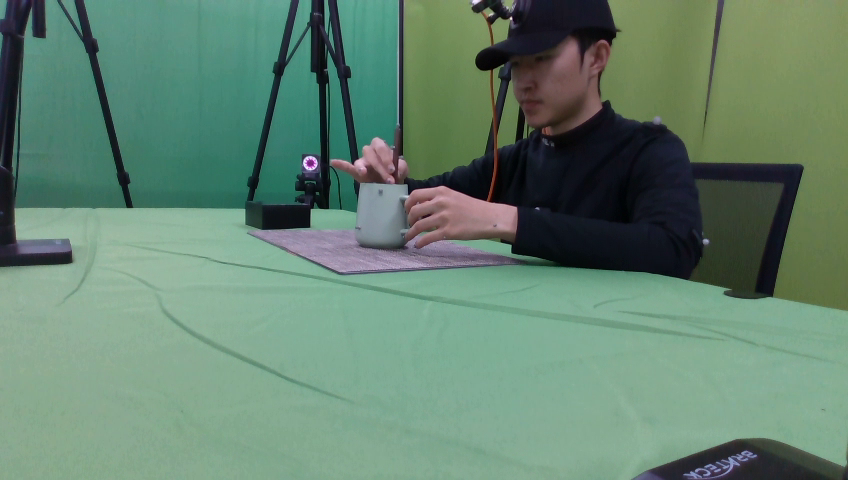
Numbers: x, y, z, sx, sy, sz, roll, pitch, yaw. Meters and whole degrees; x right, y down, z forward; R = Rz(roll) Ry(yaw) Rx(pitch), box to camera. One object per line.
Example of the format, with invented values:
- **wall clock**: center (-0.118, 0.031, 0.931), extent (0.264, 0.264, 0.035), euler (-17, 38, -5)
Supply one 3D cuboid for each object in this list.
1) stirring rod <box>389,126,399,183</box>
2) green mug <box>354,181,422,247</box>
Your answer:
- **stirring rod**: center (-0.051, -0.095, 0.977), extent (0.006, 0.176, 0.014), euler (-1, 8, -39)
- **green mug**: center (-0.055, -0.042, 0.988), extent (0.125, 0.105, 0.093), euler (7, 9, 35)
